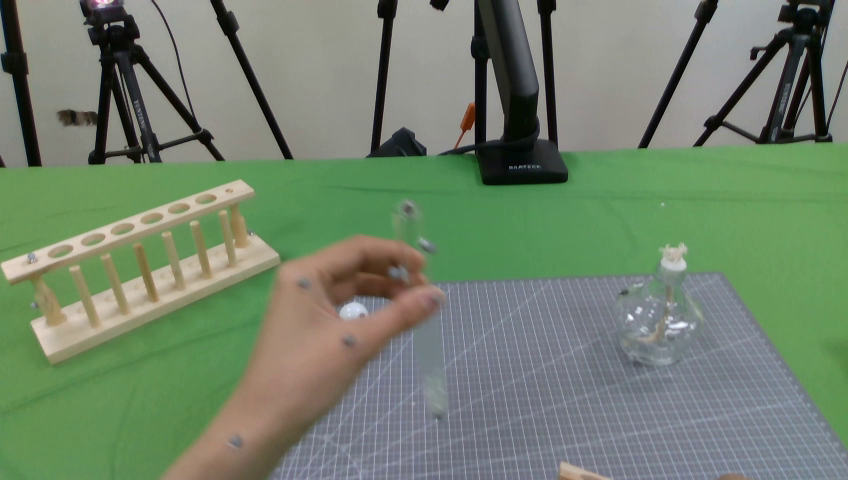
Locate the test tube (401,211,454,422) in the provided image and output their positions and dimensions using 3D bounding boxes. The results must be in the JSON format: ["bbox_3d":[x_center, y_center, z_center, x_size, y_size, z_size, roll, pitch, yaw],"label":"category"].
[{"bbox_3d":[0.004,0.051,0.350,0.017,0.151,0.017,-5,32,4],"label":"test tube"}]

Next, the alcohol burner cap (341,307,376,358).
[{"bbox_3d":[-0.063,0.085,0.574,0.034,0.048,0.033,-1,34,1],"label":"alcohol burner cap"}]

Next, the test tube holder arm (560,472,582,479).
[{"bbox_3d":[0.117,0.151,0.333,0.087,0.015,0.010,17,18,12],"label":"test tube holder arm"}]

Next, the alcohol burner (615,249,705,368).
[{"bbox_3d":[0.212,0.055,0.538,0.078,0.120,0.077,-1,36,1],"label":"alcohol burner"}]

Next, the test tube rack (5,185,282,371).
[{"bbox_3d":[-0.277,0.030,0.630,0.242,0.086,0.066,-26,41,-32],"label":"test tube rack"}]

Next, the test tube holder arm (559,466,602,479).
[{"bbox_3d":[0.161,0.162,0.328,0.178,0.015,0.013,17,18,13],"label":"test tube holder arm"}]
